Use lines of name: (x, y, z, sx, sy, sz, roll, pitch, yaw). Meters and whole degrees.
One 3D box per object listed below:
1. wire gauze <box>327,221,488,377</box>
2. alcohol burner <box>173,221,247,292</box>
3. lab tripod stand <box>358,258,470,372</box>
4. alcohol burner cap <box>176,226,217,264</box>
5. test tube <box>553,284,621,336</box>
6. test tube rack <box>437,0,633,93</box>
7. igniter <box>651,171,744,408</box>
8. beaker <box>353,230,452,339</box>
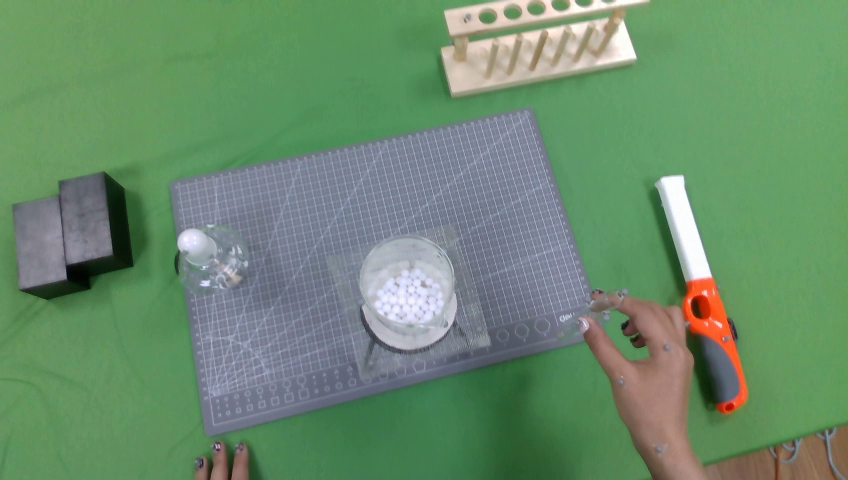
wire gauze: (-0.017, 0.052, 0.558, 0.125, 0.011, 0.120, -15, 73, -3)
alcohol burner: (-0.231, 0.013, 0.641, 0.078, 0.120, 0.077, 0, 72, 0)
lab tripod stand: (-0.020, 0.074, 0.620, 0.148, 0.132, 0.147, 0, 74, 0)
alcohol burner cap: (-0.229, 0.003, 0.606, 0.034, 0.048, 0.033, 1, 75, -5)
test tube: (0.145, 0.068, 0.557, 0.017, 0.151, 0.017, 2, 70, -5)
test tube rack: (0.142, -0.253, 0.745, 0.242, 0.085, 0.066, -12, 75, -5)
igniter: (0.313, 0.051, 0.695, 0.057, 0.025, 0.275, -6, 75, -14)
beaker: (-0.013, 0.045, 0.510, 0.074, 0.101, 0.083, -36, 77, -10)
